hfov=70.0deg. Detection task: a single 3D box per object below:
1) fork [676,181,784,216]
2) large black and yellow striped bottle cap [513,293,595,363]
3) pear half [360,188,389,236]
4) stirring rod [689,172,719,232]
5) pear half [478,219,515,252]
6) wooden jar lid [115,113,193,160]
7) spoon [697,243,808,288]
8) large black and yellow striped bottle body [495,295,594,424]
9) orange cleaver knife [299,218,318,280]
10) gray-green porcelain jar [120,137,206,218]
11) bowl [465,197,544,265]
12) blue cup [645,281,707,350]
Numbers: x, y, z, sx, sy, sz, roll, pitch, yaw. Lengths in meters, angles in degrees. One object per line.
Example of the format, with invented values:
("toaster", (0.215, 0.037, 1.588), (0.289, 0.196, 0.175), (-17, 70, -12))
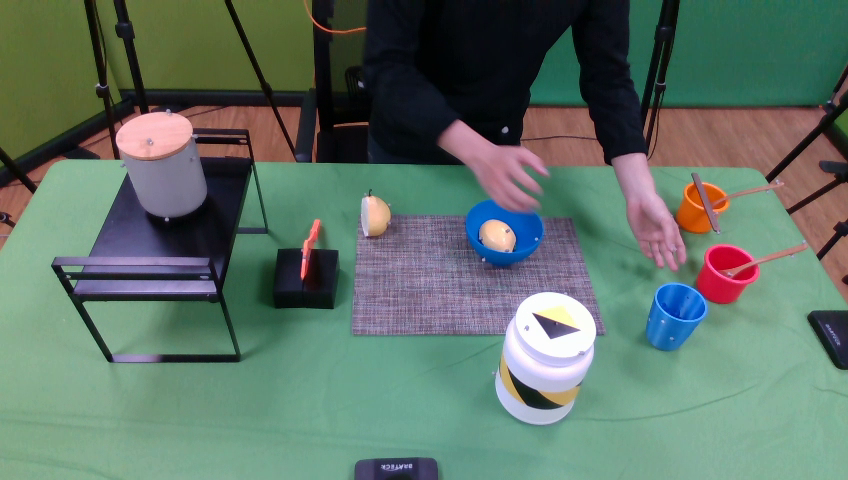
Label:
("fork", (0.618, -0.084, 1.235), (0.207, 0.019, 0.028), (-23, 21, 38))
("large black and yellow striped bottle cap", (0.186, 0.123, 0.863), (0.115, 0.019, 0.114), (3, 45, -3))
("pear half", (-0.096, -0.060, 1.181), (0.056, 0.110, 0.076), (-13, 52, -17))
("stirring rod", (0.565, -0.080, 1.225), (0.014, 0.006, 0.175), (3, 46, 1))
("pear half", (0.143, -0.010, 1.164), (0.070, 0.031, 0.087), (-18, 55, -14))
("wooden jar lid", (-0.399, -0.151, 0.900), (0.108, 0.021, 0.107), (3, 46, -3))
("spoon", (0.601, 0.045, 1.115), (0.194, 0.022, 0.041), (-29, 34, 30))
("large black and yellow striped bottle body", (0.183, 0.182, 0.923), (0.131, 0.185, 0.130), (2, 46, -2))
("orange cleaver knife", (-0.214, 0.013, 1.126), (0.012, 0.077, 0.210), (5, 17, -5))
("gray-green porcelain jar", (-0.403, -0.106, 0.946), (0.106, 0.127, 0.105), (3, 46, -2))
("bowl", (0.149, -0.004, 1.167), (0.151, 0.077, 0.150), (3, 46, -3))
("blue cup", (0.425, 0.136, 1.042), (0.093, 0.101, 0.092), (1, 45, -1))
